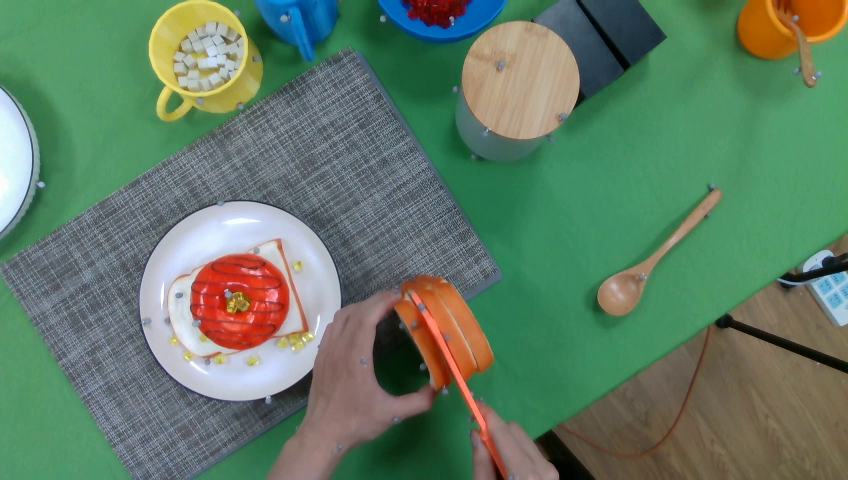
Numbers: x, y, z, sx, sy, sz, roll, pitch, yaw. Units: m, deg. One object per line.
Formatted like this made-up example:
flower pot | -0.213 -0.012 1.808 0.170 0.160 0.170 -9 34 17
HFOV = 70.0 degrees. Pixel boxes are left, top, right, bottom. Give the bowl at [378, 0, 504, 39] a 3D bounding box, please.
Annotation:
bowl | 0.016 -0.278 0.643 0.151 0.077 0.151 0 88 -2

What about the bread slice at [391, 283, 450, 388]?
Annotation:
bread slice | -0.004 0.092 0.602 0.018 0.134 0.107 -25 87 -4

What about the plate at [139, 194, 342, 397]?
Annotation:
plate | -0.189 0.057 0.639 0.209 0.038 0.209 0 88 -2

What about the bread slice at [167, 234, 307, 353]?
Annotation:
bread slice | -0.202 0.063 0.642 0.131 0.019 0.104 -20 88 -7

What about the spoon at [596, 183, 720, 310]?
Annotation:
spoon | 0.263 0.005 0.669 0.193 0.022 0.041 -44 72 -3

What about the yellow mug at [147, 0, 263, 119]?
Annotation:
yellow mug | -0.236 -0.182 0.636 0.100 0.064 0.131 35 88 1

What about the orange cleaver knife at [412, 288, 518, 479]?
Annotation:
orange cleaver knife | 0.039 0.140 0.556 0.012 0.077 0.212 -27 101 -5

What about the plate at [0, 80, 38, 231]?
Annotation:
plate | -0.508 -0.087 0.636 0.208 0.039 0.207 0 88 -2

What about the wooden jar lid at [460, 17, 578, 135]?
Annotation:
wooden jar lid | 0.086 -0.148 0.554 0.108 0.020 0.108 0 89 -5

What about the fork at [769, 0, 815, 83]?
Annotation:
fork | 0.377 -0.214 0.618 0.028 0.019 0.206 30 43 -7

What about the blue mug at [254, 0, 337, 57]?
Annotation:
blue mug | -0.133 -0.247 0.623 0.082 0.106 0.116 -13 88 -2

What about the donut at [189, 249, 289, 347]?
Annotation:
donut | -0.186 0.058 0.611 0.099 0.048 0.099 0 88 -6

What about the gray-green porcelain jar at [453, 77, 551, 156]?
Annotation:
gray-green porcelain jar | 0.085 -0.145 0.617 0.106 0.126 0.105 0 87 -2
